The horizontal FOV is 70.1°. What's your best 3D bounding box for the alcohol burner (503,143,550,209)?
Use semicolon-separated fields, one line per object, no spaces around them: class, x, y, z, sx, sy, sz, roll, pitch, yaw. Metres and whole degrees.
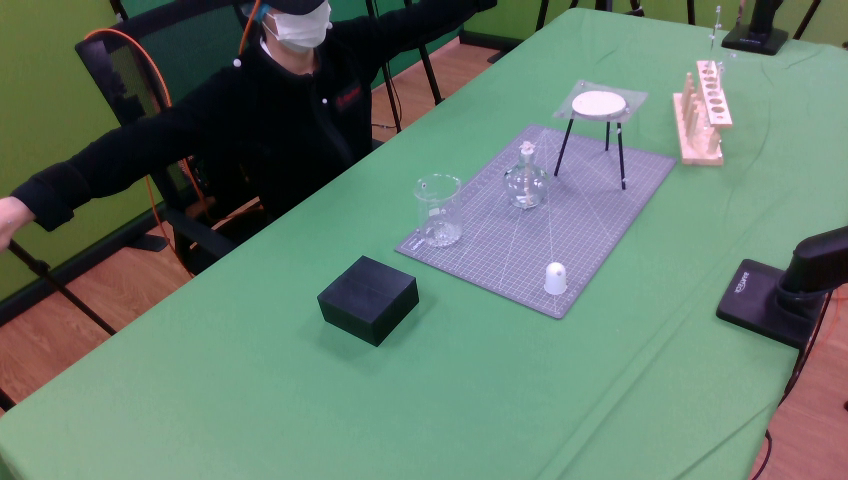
alcohol burner;0.171;-0.111;1.006;0.078;0.119;0.077;-3;41;3

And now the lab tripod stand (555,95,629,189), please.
lab tripod stand;0.300;-0.174;1.045;0.148;0.132;0.147;-5;38;5

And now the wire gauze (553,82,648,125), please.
wire gauze;0.293;-0.225;1.002;0.120;0.011;0.125;17;45;27

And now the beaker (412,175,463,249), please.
beaker;0.027;-0.043;0.959;0.084;0.101;0.073;-25;43;-20

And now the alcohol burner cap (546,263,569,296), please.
alcohol burner cap;0.191;0.053;0.862;0.034;0.048;0.033;-5;40;4

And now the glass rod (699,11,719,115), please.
glass rod;0.529;-0.324;1.125;0.008;0.200;0.008;-5;37;5

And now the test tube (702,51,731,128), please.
test tube;0.522;-0.266;1.082;0.017;0.151;0.017;-3;44;4

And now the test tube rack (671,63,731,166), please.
test tube rack;0.513;-0.241;1.132;0.066;0.085;0.242;4;41;14
